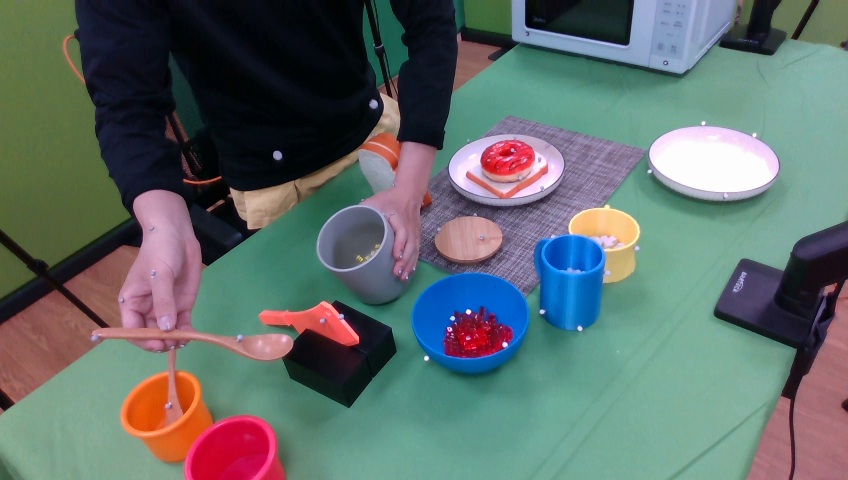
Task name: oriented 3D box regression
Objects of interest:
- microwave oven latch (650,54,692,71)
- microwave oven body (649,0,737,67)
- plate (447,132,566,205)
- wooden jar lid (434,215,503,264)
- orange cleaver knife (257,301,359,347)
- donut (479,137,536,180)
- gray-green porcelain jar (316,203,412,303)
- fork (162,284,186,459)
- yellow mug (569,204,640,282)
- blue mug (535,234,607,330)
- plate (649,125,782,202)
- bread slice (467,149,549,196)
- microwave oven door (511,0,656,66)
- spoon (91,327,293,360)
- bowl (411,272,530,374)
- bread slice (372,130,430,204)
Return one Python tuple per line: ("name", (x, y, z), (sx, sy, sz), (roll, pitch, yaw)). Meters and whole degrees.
("microwave oven latch", (0.531, -0.386, 1.301), (0.078, 0.029, 0.030), (24, 50, 32))
("microwave oven body", (0.475, -0.602, 1.411), (0.438, 0.261, 0.327), (23, 50, 32))
("plate", (0.145, -0.124, 1.076), (0.209, 0.038, 0.208), (-3, 41, 3))
("wooden jar lid", (0.070, 0.001, 0.956), (0.108, 0.021, 0.108), (-4, 40, 4))
("orange cleaver knife", (-0.160, 0.115, 0.813), (0.210, 0.077, 0.012), (-9, 30, 48))
("donut", (0.145, -0.143, 1.056), (0.099, 0.048, 0.098), (-6, 42, 6))
("gray-green porcelain jar", (-0.079, 0.024, 0.861), (0.105, 0.127, 0.105), (-9, 59, 15))
("fork", (-0.303, 0.157, 0.733), (0.028, 0.019, 0.207), (-3, 84, 11))
("yellow mug", (0.268, -0.005, 0.904), (0.099, 0.064, 0.130), (7, 41, 15))
("blue mug", (0.190, 0.048, 0.824), (0.082, 0.106, 0.115), (-26, 44, -20))
("plate", (0.493, -0.127, 1.036), (0.207, 0.039, 0.206), (-4, 41, 4))
("bread slice", (0.156, -0.128, 1.085), (0.132, 0.019, 0.104), (-34, 48, -23))
("microwave oven door", (0.350, -0.539, 1.348), (0.353, 0.245, 0.039), (24, 50, 31))
("spoon", (-0.232, 0.101, 0.623), (0.195, 0.021, 0.041), (13, 29, -27))
("bowl", (0.062, 0.120, 0.780), (0.151, 0.077, 0.150), (-4, 40, 4))
("bread slice", (-0.043, -0.126, 1.038), (0.106, 0.135, 0.018), (30, 62, 34))
